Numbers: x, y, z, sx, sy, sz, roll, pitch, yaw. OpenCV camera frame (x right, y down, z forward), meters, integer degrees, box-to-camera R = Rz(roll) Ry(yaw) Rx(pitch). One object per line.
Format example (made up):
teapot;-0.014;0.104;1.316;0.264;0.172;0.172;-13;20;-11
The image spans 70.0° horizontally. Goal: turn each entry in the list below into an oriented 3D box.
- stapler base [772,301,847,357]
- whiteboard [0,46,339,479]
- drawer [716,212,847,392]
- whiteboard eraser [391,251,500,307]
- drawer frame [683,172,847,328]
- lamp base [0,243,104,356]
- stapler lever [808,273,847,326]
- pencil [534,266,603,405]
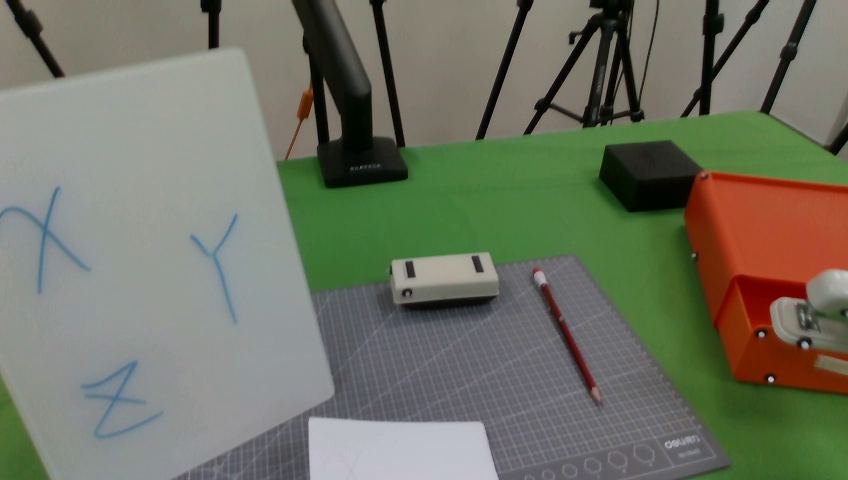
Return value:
stapler base;0.331;0.067;0.450;0.130;0.024;0.041;10;55;4
whiteboard;-0.227;0.021;0.497;0.218;0.307;0.142;-22;22;-28
drawer;0.402;0.056;0.620;0.194;0.074;0.210;6;35;8
whiteboard eraser;0.022;0.043;0.650;0.113;0.042;0.055;-4;37;-7
drawer frame;0.413;0.016;0.674;0.201;0.083;0.212;6;35;7
lamp base;-0.427;-0.005;0.581;0.178;0.182;0.160;16;38;23
stapler lever;0.334;0.051;0.429;0.118;0.040;0.026;10;55;3
pencil;0.145;0.090;0.618;0.012;0.012;0.192;-5;38;-8
